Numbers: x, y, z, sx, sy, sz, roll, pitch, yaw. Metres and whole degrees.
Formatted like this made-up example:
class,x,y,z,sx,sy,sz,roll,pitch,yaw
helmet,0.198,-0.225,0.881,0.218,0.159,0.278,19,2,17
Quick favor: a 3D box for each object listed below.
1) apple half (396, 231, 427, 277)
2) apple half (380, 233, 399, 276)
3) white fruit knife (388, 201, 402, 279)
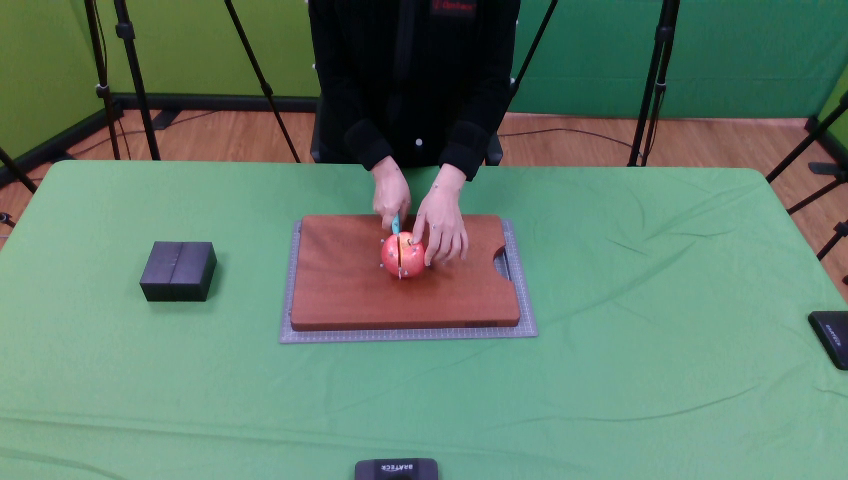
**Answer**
class,x,y,z,sx,sy,sz,roll,pitch,yaw
apple half,-0.023,0.027,1.095,0.053,0.075,0.080,0,44,-10
apple half,-0.063,0.030,1.091,0.033,0.081,0.081,-4,47,-5
white fruit knife,-0.052,-0.005,1.124,0.016,0.027,0.206,-7,45,-3
